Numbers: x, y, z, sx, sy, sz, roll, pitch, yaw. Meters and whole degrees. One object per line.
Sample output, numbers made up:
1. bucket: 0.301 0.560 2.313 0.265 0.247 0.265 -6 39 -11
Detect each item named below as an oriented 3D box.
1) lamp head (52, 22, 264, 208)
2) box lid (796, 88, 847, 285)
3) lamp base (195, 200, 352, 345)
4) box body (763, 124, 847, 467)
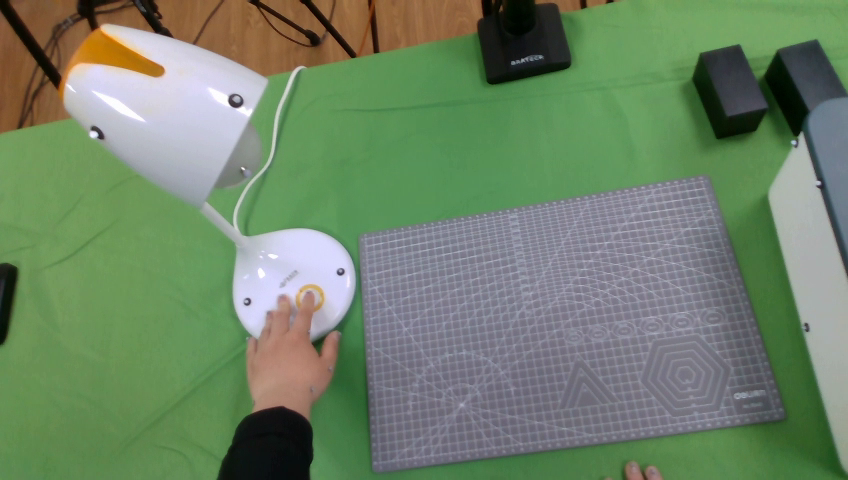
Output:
1. lamp head: -0.194 -0.096 0.438 0.123 0.112 0.112 25 71 -16
2. box lid: 0.503 0.010 0.521 0.263 0.015 0.368 -6 68 8
3. lamp base: -0.194 0.021 0.714 0.178 0.182 0.160 28 75 22
4. box body: 0.515 0.041 0.588 0.254 0.162 0.361 -6 67 8
